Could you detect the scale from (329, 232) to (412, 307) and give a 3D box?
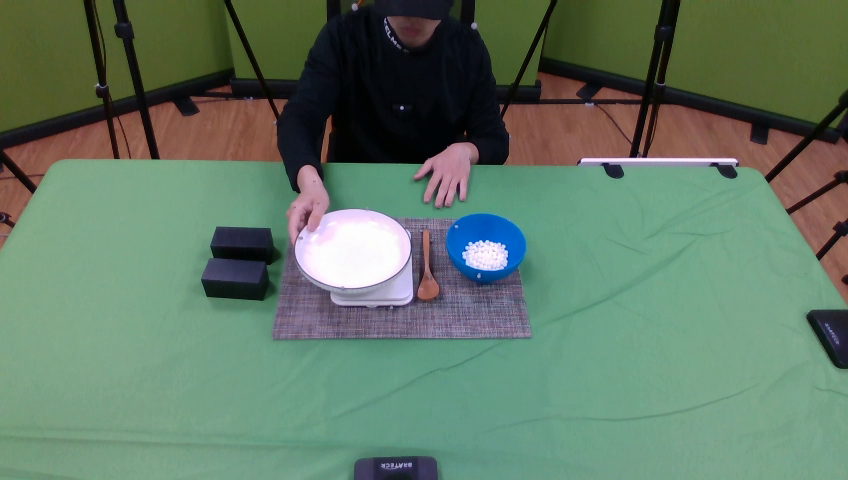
[{"bbox_3d":[-0.099,0.042,1.139,0.149,0.032,0.199,1,46,-4],"label":"scale"}]

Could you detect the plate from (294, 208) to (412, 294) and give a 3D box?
[{"bbox_3d":[-0.125,0.022,1.080,0.209,0.038,0.208,2,43,-2],"label":"plate"}]

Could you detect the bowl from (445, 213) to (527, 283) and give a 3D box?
[{"bbox_3d":[0.112,0.027,1.136,0.151,0.077,0.150,2,46,-2],"label":"bowl"}]

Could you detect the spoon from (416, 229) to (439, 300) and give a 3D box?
[{"bbox_3d":[0.005,0.043,1.153,0.041,0.022,0.192,-9,46,8],"label":"spoon"}]
